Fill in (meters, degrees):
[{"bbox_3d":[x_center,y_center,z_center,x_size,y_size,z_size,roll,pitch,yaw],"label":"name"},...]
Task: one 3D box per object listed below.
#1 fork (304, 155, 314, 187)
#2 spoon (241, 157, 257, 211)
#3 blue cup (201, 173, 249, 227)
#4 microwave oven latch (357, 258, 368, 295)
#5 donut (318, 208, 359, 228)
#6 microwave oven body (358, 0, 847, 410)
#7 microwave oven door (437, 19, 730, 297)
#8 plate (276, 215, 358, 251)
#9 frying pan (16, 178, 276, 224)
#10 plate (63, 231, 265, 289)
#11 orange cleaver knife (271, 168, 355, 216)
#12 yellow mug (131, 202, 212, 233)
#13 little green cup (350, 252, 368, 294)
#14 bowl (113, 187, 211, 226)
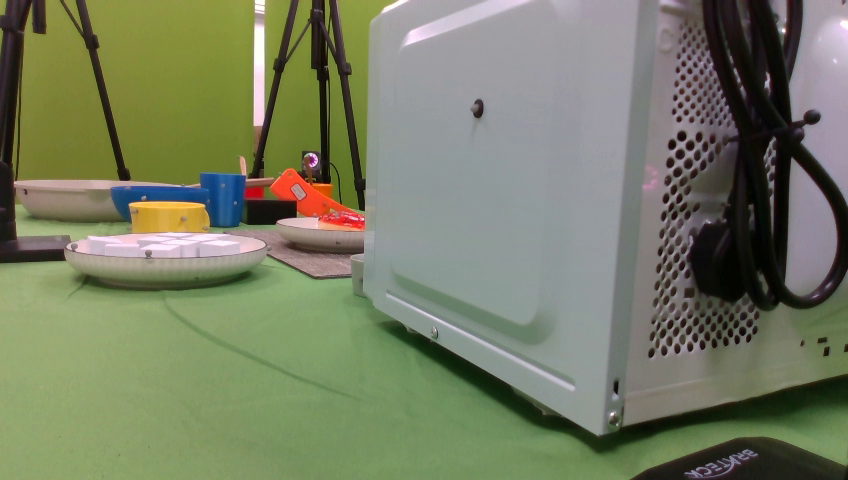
[{"bbox_3d":[-0.268,-0.134,1.446,0.028,0.018,0.207,1,-36,-1],"label":"fork"},{"bbox_3d":[-0.432,-0.140,1.472,0.042,0.021,0.193,-2,52,-19],"label":"spoon"},{"bbox_3d":[-0.384,-0.077,1.164,0.093,0.100,0.092,2,6,0],"label":"blue cup"},{"bbox_3d":[-0.019,0.031,0.529,0.079,0.029,0.030,-1,7,-26],"label":"microwave oven latch"},{"bbox_3d":[-0.118,-0.024,0.954,0.099,0.048,0.099,6,7,0],"label":"donut"},{"bbox_3d":[0.210,-0.051,0.471,0.444,0.260,0.324,-1,7,-28],"label":"microwave oven body"},{"bbox_3d":[0.180,-0.076,0.618,0.358,0.243,0.039,-2,8,-28],"label":"microwave oven door"},{"bbox_3d":[-0.126,-0.012,0.950,0.209,0.038,0.209,2,7,0],"label":"plate"},{"bbox_3d":[-0.553,-0.097,1.266,0.490,0.102,0.305,-10,13,-24],"label":"frying pan"},{"bbox_3d":[-0.288,0.021,0.687,0.208,0.039,0.207,2,8,0],"label":"plate"},{"bbox_3d":[-0.236,-0.084,1.333,0.212,0.077,0.012,31,-10,-32],"label":"orange cleaver knife"},{"bbox_3d":[-0.356,-0.020,0.878,0.099,0.064,0.131,5,7,21],"label":"yellow mug"},{"bbox_3d":[-0.048,0.034,0.633,0.061,0.038,0.061,3,7,0],"label":"little green cup"},{"bbox_3d":[-0.436,-0.046,1.013,0.151,0.077,0.151,2,7,0],"label":"bowl"}]
